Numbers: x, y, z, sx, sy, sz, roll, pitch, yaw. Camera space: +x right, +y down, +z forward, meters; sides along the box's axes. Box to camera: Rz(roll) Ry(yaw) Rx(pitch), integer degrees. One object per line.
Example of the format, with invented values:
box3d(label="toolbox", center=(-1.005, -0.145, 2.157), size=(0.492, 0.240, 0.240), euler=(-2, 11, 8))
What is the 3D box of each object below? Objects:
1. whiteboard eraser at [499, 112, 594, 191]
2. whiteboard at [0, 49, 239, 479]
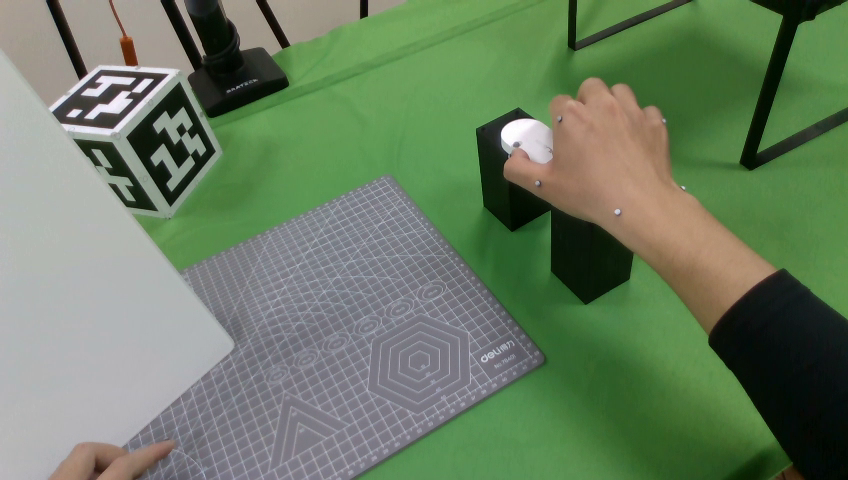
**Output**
box3d(label="whiteboard eraser", center=(0.101, -0.077, 0.512), size=(0.041, 0.019, 0.100), euler=(-29, 51, -15))
box3d(label="whiteboard", center=(-0.341, 0.034, 0.478), size=(0.217, 0.308, 0.142), euler=(-44, 35, -25))
